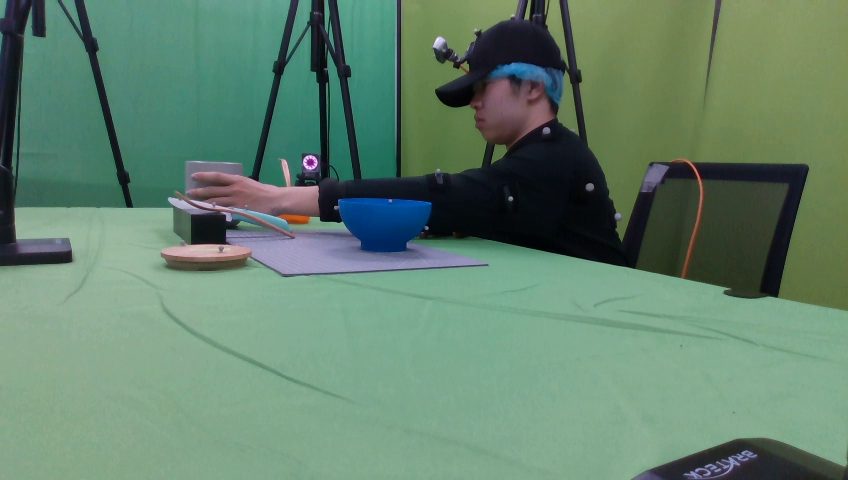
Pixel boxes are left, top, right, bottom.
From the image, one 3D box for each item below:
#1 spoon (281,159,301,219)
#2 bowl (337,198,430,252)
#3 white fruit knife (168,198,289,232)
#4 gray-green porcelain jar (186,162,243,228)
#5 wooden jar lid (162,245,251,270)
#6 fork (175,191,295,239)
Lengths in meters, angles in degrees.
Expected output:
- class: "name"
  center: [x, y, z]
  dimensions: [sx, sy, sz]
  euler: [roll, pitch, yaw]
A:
- class: "spoon"
  center: [-0.307, -0.117, 1.368]
  dimensions: [0.042, 0.193, 0.021]
  euler: [1, -38, -23]
- class: "bowl"
  center: [-0.066, -0.024, 0.967]
  dimensions: [0.151, 0.077, 0.151]
  euler: [3, 7, 0]
- class: "white fruit knife"
  center: [-0.329, -0.044, 1.036]
  dimensions: [0.208, 0.027, 0.016]
  euler: [14, 0, -32]
- class: "gray-green porcelain jar"
  center: [-0.412, -0.090, 1.193]
  dimensions: [0.106, 0.126, 0.106]
  euler: [2, 7, 0]
- class: "wooden jar lid"
  center: [-0.278, 0.022, 0.777]
  dimensions: [0.108, 0.020, 0.108]
  euler: [2, 6, 0]
- class: "fork"
  center: [-0.306, -0.039, 0.993]
  dimensions: [0.208, 0.018, 0.028]
  euler: [19, -9, -34]
